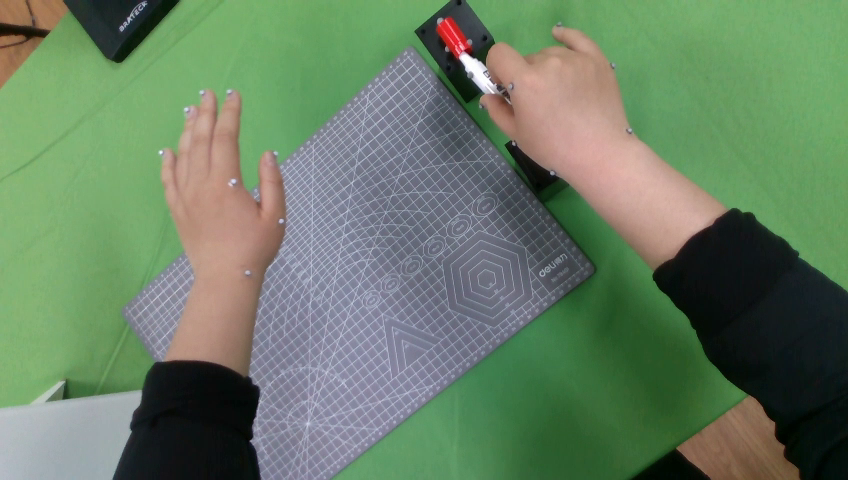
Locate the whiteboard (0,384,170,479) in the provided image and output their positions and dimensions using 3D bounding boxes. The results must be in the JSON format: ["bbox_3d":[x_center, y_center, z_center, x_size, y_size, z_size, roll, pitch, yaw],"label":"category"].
[{"bbox_3d":[-0.450,0.254,0.608,0.143,0.307,0.217,13,93,33],"label":"whiteboard"}]

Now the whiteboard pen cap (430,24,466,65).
[{"bbox_3d":[0.021,-0.165,0.513,0.017,0.017,0.032,-36,84,11],"label":"whiteboard pen cap"}]

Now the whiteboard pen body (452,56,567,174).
[{"bbox_3d":[0.066,-0.109,0.503,0.017,0.017,0.140,-43,81,9],"label":"whiteboard pen body"}]
